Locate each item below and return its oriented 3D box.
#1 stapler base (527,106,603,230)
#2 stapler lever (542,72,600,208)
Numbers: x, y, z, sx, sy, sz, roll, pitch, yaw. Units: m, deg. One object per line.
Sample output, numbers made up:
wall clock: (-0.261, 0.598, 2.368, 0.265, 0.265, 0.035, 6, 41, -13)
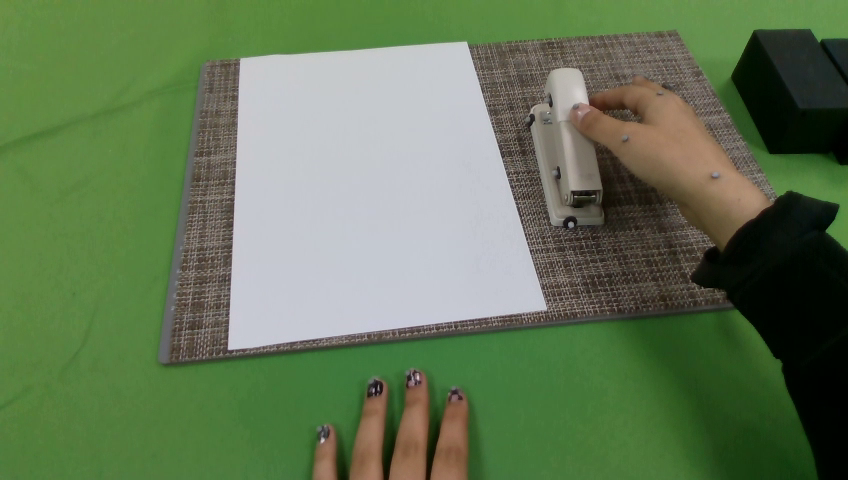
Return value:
stapler base: (0.111, -0.066, 0.481, 0.041, 0.024, 0.129, -4, 55, 0)
stapler lever: (0.111, -0.079, 0.460, 0.027, 0.040, 0.117, -4, 55, 1)
